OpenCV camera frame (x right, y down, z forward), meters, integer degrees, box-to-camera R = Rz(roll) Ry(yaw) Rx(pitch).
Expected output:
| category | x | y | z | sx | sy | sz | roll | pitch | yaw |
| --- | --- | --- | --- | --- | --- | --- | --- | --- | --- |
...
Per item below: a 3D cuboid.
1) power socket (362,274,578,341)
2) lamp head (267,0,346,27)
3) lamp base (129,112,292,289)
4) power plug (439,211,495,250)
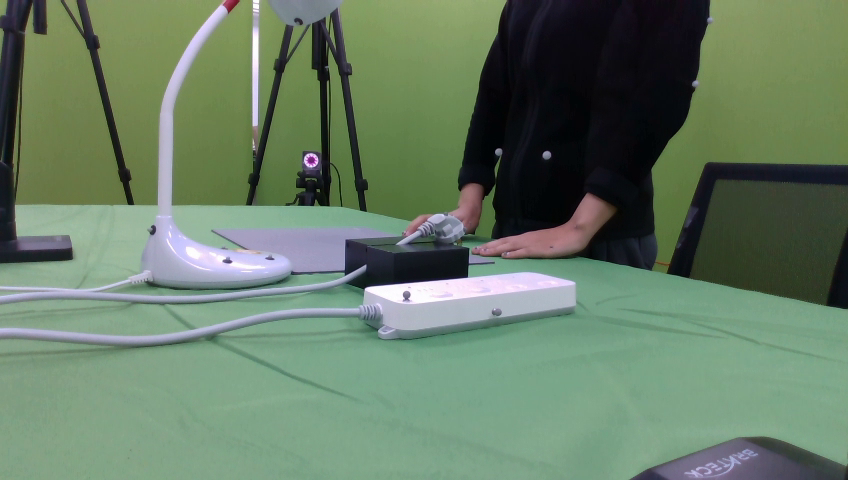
| category | x | y | z | sx | sy | sz | roll | pitch | yaw |
| --- | --- | --- | --- | --- | --- | --- | --- | --- | --- |
| power socket | 0.048 | 0.056 | 0.549 | 0.228 | 0.032 | 0.072 | -3 | 8 | -35 |
| lamp head | -0.157 | -0.326 | 0.701 | 0.112 | 0.112 | 0.123 | 6 | -16 | 26 |
| lamp base | -0.233 | -0.045 | 0.658 | 0.160 | 0.180 | 0.180 | 7 | 11 | 29 |
| power plug | 0.049 | -0.006 | 0.683 | 0.072 | 0.053 | 0.035 | 15 | 57 | 39 |
